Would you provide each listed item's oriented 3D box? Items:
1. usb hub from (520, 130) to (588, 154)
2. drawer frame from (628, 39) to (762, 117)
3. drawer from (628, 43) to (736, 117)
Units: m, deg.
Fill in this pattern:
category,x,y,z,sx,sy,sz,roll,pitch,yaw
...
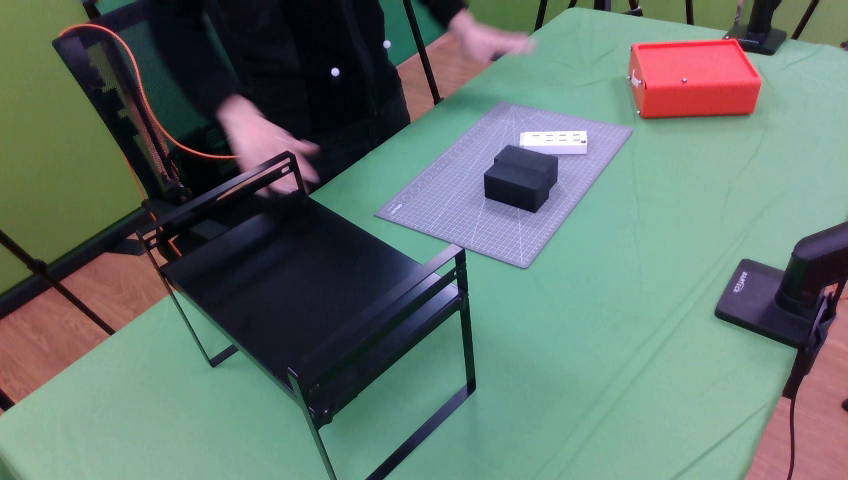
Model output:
category,x,y,z,sx,sy,sz,roll,pitch,yaw
usb hub,0.246,-0.185,1.148,0.125,0.025,0.049,1,42,10
drawer frame,0.539,-0.332,1.234,0.213,0.083,0.201,0,41,7
drawer,0.536,-0.331,1.237,0.211,0.073,0.194,1,40,9
